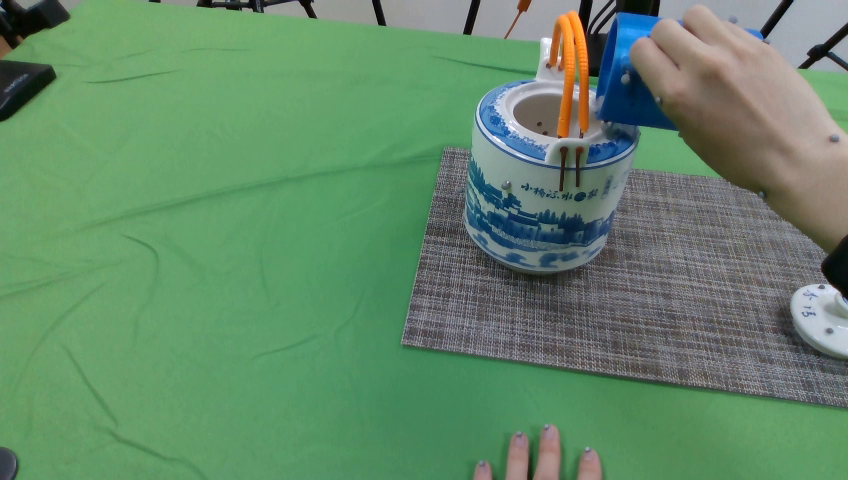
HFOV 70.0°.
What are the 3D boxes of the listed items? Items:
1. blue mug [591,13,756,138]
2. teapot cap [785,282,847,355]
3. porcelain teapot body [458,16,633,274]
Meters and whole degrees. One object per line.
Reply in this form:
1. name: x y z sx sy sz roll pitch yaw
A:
1. blue mug: 0.186 -0.125 0.459 0.106 0.082 0.116 9 13 7
2. teapot cap: 0.368 0.065 0.538 0.085 0.044 0.084 4 43 -3
3. porcelain teapot body: 0.110 -0.106 0.568 0.145 0.227 0.203 2 44 -1
